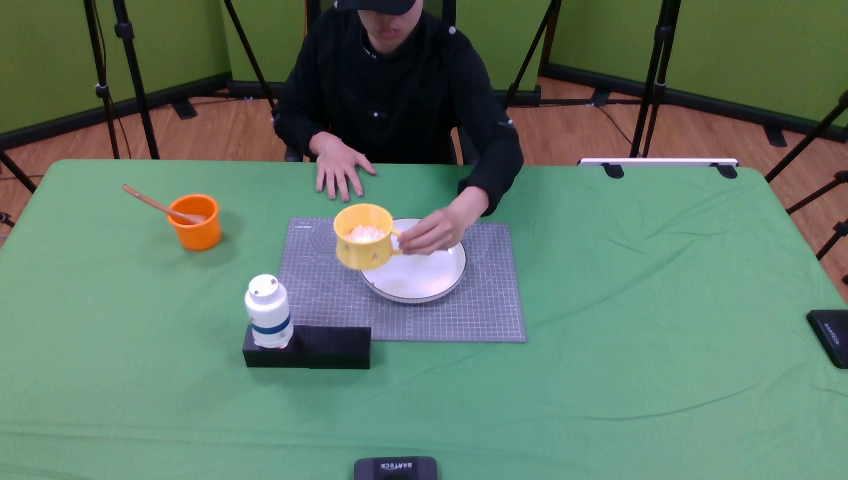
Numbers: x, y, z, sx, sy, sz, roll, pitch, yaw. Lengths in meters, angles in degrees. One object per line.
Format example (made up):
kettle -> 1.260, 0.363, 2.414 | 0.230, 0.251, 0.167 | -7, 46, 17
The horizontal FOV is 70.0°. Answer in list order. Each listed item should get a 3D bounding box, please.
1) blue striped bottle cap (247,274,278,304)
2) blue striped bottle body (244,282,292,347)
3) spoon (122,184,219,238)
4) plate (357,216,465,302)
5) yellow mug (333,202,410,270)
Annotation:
blue striped bottle cap -> -0.240, 0.072, 0.900 | 0.044, 0.021, 0.044 | 5, 46, -5
blue striped bottle body -> -0.241, 0.108, 0.937 | 0.063, 0.121, 0.062 | 2, 46, -2
spoon -> -0.463, -0.052, 1.117 | 0.195, 0.021, 0.041 | 28, 37, -35
plate -> -0.027, 0.039, 1.144 | 0.208, 0.039, 0.206 | 2, 46, -2
yellow mug -> -0.087, -0.005, 1.029 | 0.131, 0.064, 0.099 | 10, 46, 6
